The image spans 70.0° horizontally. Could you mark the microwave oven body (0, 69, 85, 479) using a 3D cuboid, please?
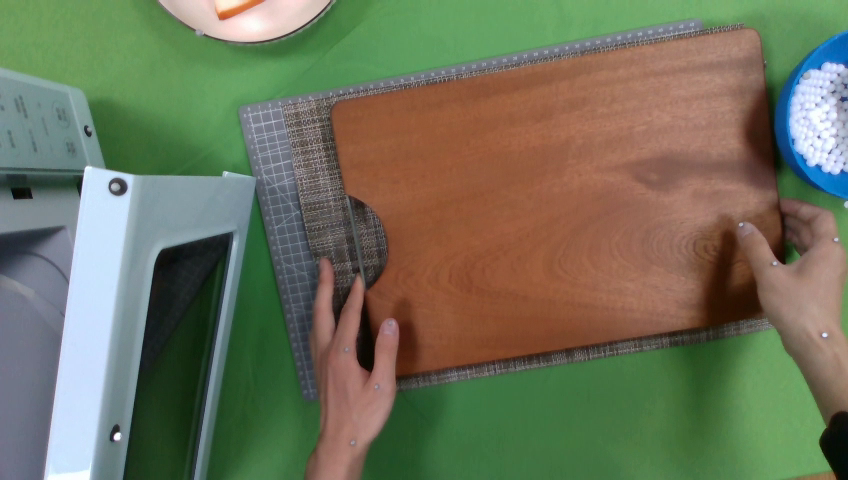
[{"bbox_3d":[-0.432,0.112,0.484,0.326,0.259,0.442,-13,97,1],"label":"microwave oven body"}]

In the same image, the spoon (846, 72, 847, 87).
[{"bbox_3d":[0.406,-0.074,0.525,0.042,0.022,0.192,-5,76,-7],"label":"spoon"}]

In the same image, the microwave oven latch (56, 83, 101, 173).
[{"bbox_3d":[-0.325,-0.102,0.555,0.030,0.029,0.079,-12,97,1],"label":"microwave oven latch"}]

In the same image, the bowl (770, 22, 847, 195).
[{"bbox_3d":[0.379,-0.116,0.551,0.151,0.076,0.151,0,97,0],"label":"bowl"}]

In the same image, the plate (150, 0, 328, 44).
[{"bbox_3d":[-0.168,-0.283,0.552,0.208,0.039,0.208,0,97,0],"label":"plate"}]

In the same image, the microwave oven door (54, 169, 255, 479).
[{"bbox_3d":[-0.211,0.121,0.481,0.039,0.243,0.356,11,97,0],"label":"microwave oven door"}]

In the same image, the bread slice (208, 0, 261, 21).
[{"bbox_3d":[-0.175,-0.283,0.553,0.105,0.019,0.132,-25,97,1],"label":"bread slice"}]
